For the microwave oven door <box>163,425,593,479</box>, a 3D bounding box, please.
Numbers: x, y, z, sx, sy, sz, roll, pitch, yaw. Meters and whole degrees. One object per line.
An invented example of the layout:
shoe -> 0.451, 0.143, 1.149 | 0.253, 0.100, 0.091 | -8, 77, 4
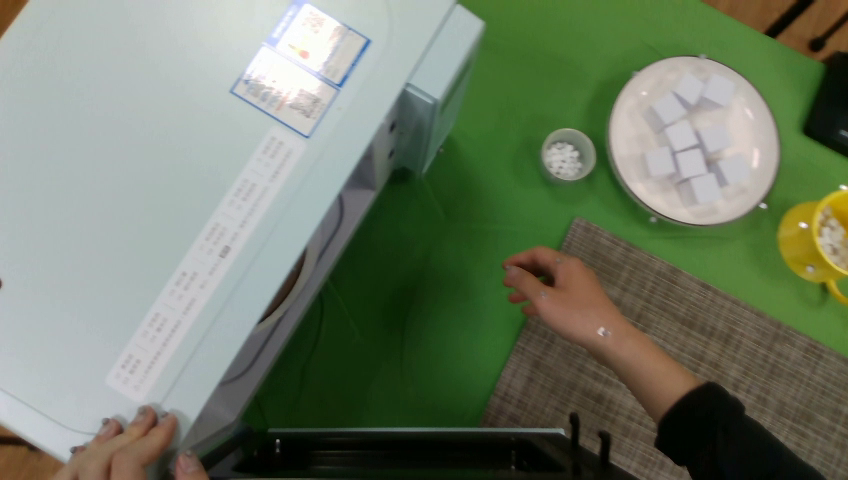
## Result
microwave oven door -> -0.019, 0.199, 0.533 | 0.356, 0.244, 0.039 | 1, 81, -4

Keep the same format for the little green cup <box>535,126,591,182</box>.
little green cup -> 0.160, -0.098, 0.708 | 0.061, 0.038, 0.061 | 1, 84, -5

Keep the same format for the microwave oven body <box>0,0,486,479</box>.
microwave oven body -> -0.206, -0.058, 0.557 | 0.326, 0.260, 0.441 | 31, 82, 0

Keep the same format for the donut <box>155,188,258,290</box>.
donut -> -0.209, -0.002, 0.587 | 0.099, 0.048, 0.099 | 0, 86, -2

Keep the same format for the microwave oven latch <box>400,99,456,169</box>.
microwave oven latch -> 0.004, -0.120, 0.680 | 0.030, 0.029, 0.079 | 35, 82, 0

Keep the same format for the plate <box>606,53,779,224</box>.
plate -> 0.315, -0.119, 0.725 | 0.208, 0.039, 0.207 | 1, 82, -4

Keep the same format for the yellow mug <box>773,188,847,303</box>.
yellow mug -> 0.477, 0.009, 0.707 | 0.100, 0.064, 0.130 | -9, 84, -6

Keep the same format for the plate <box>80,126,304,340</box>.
plate -> -0.223, -0.006, 0.598 | 0.209, 0.038, 0.208 | 1, 86, -6
